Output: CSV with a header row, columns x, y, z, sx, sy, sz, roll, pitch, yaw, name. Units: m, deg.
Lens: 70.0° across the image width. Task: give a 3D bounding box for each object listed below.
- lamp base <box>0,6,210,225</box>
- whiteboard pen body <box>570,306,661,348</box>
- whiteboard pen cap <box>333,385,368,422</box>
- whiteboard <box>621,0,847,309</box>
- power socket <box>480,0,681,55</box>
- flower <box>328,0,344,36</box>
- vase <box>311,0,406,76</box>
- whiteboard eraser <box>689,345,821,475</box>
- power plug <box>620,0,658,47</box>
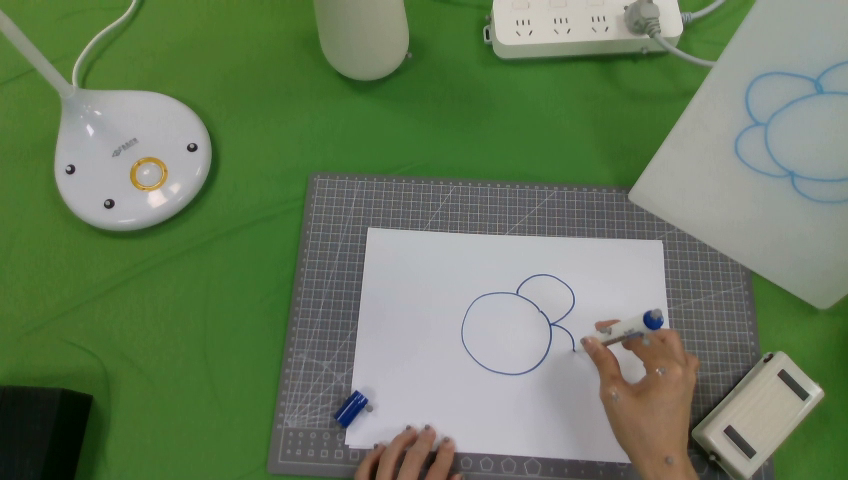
x,y,z,sx,sy,sz,roll,pitch,yaw,name
-0.318,-0.123,0.567,0.178,0.181,0.160,35,74,15,lamp base
0.155,0.077,0.511,0.017,0.141,0.017,4,71,-12,whiteboard pen body
-0.066,0.149,0.552,0.018,0.018,0.033,37,73,13,whiteboard pen cap
0.357,-0.121,0.527,0.216,0.307,0.143,33,53,12,whiteboard
0.178,-0.250,0.686,0.227,0.033,0.071,-2,71,-1,power socket
-0.053,-0.272,0.521,0.044,0.361,0.038,-40,92,-21,flower
-0.071,-0.253,0.601,0.098,0.201,0.097,-1,70,2,vase
0.291,0.149,0.536,0.112,0.042,0.055,-40,74,-12,whiteboard eraser
0.229,-0.231,0.655,0.035,0.053,0.072,7,77,3,power plug
